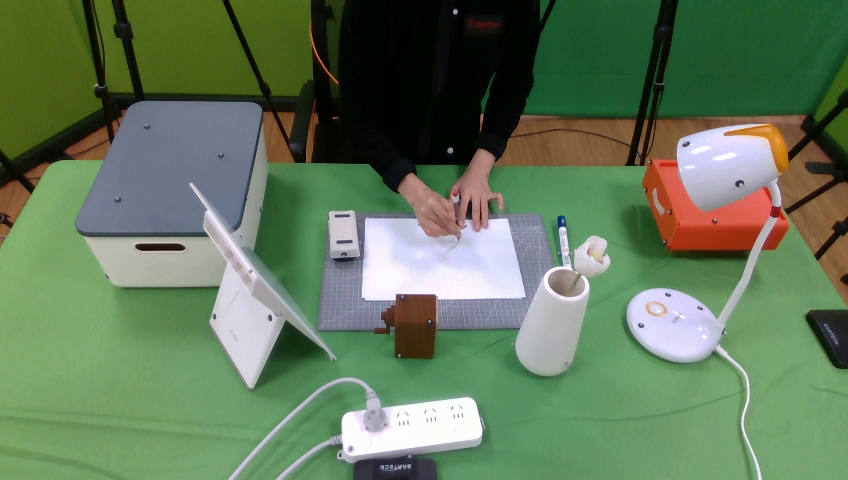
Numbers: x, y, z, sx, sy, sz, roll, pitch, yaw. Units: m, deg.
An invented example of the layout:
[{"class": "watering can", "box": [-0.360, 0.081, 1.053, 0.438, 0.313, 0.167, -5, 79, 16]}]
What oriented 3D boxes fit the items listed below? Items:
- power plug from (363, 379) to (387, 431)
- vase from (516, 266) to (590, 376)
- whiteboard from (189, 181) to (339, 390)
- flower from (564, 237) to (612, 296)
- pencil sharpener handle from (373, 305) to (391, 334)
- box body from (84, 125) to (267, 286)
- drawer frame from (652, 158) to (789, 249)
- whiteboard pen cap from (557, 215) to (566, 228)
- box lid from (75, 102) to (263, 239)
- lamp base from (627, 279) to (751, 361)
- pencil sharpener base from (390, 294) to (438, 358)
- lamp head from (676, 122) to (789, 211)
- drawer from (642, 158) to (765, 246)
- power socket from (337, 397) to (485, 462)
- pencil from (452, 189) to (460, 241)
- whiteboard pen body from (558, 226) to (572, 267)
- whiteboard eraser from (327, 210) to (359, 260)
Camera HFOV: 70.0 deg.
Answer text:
[{"class": "power plug", "box": [-0.072, 0.252, 0.910, 0.035, 0.053, 0.072, 3, 45, -1]}, {"class": "vase", "box": [0.208, 0.132, 0.965, 0.098, 0.201, 0.097, 3, 46, -3]}, {"class": "whiteboard", "box": [-0.292, 0.096, 0.929, 0.144, 0.307, 0.216, -37, 57, -10]}, {"class": "flower", "box": [0.206, 0.088, 0.893, 0.038, 0.363, 0.044, -17, 67, -9]}, {"class": "pencil sharpener handle", "box": [-0.068, 0.133, 0.989, 0.030, 0.068, 0.036, 1, 47, -2]}, {"class": "box body", "box": [-0.446, -0.088, 1.150, 0.254, 0.161, 0.361, -1, 46, -5]}, {"class": "drawer frame", "box": [0.571, -0.075, 1.214, 0.214, 0.083, 0.200, 0, 45, -1]}, {"class": "whiteboard pen cap", "box": [0.284, -0.035, 1.246, 0.018, 0.018, 0.033, 4, 52, -1]}, {"class": "box lid", "box": [-0.443, -0.138, 1.094, 0.263, 0.015, 0.369, -1, 47, -5]}, {"class": "lamp base", "box": [0.459, 0.100, 1.027, 0.178, 0.181, 0.160, 27, 51, 17]}, {"class": "pencil sharpener base", "box": [-0.018, 0.143, 1.000, 0.077, 0.107, 0.061, 1, 46, -2]}, {"class": "lamp head", "box": [0.423, -0.104, 0.819, 0.122, 0.113, 0.112, -13, 33, 40]}, {"class": "drawer", "box": [0.565, -0.076, 1.211, 0.212, 0.073, 0.193, 2, 45, -2]}, {"class": "power socket", "box": [-0.018, 0.285, 0.915, 0.227, 0.033, 0.071, -5, 46, -8]}, {"class": "pencil", "box": [0.061, -0.040, 1.122, 0.012, 0.195, 0.012, -2, 63, 4]}, {"class": "whiteboard pen body", "box": [0.280, 0.010, 1.208, 0.017, 0.017, 0.140, 3, 50, -1]}, {"class": "whiteboard eraser", "box": [-0.158, -0.009, 1.177, 0.055, 0.042, 0.112, -6, 47, -7]}]
